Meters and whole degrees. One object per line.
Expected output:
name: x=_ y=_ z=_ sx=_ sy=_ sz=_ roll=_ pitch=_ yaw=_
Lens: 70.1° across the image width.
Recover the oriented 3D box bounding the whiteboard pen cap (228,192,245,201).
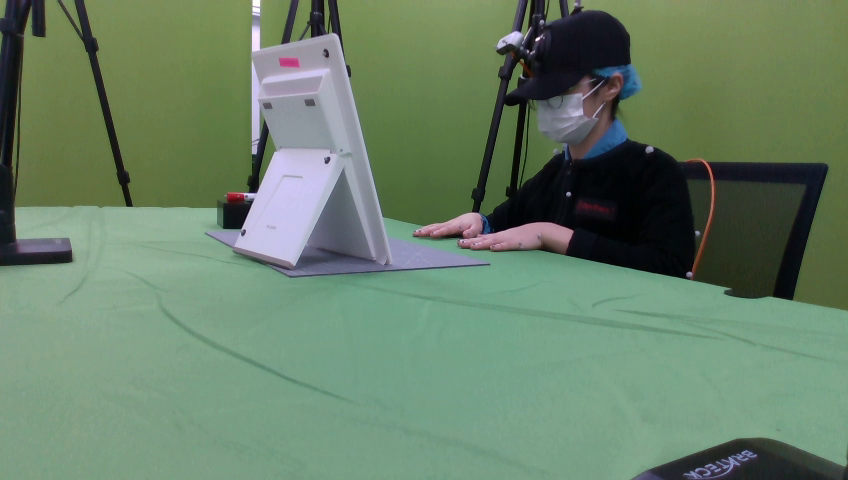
whiteboard pen cap: x=-0.377 y=-0.088 z=1.217 sx=0.032 sy=0.017 sz=0.017 roll=0 pitch=7 yaw=-29

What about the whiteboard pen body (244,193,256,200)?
whiteboard pen body: x=-0.327 y=-0.089 z=1.246 sx=0.141 sy=0.017 sz=0.017 roll=-1 pitch=8 yaw=-30

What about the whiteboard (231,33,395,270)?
whiteboard: x=-0.193 y=-0.094 z=0.805 sx=0.144 sy=0.305 sz=0.216 roll=-28 pitch=25 yaw=-35
